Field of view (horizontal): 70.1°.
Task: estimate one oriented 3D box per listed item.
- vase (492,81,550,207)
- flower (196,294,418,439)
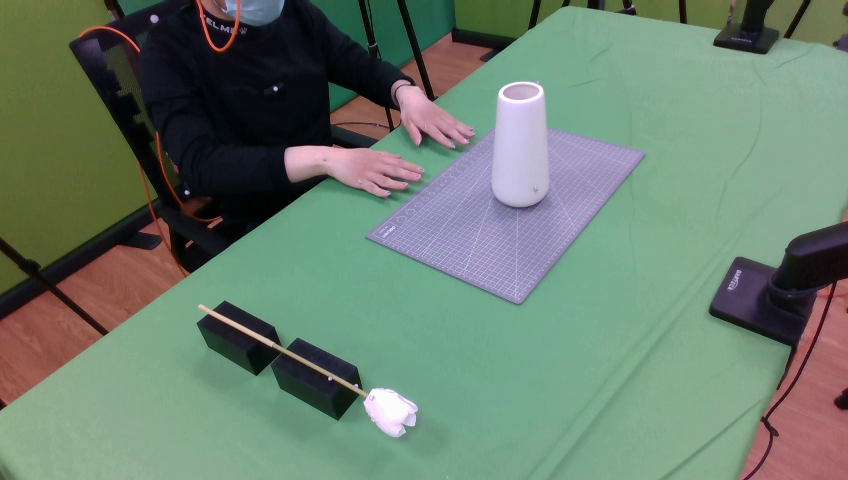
[{"bbox_3d":[0.159,-0.151,0.982,0.098,0.201,0.097,-3,41,3],"label":"vase"},{"bbox_3d":[-0.162,0.142,0.752,0.359,0.038,0.044,24,67,26],"label":"flower"}]
